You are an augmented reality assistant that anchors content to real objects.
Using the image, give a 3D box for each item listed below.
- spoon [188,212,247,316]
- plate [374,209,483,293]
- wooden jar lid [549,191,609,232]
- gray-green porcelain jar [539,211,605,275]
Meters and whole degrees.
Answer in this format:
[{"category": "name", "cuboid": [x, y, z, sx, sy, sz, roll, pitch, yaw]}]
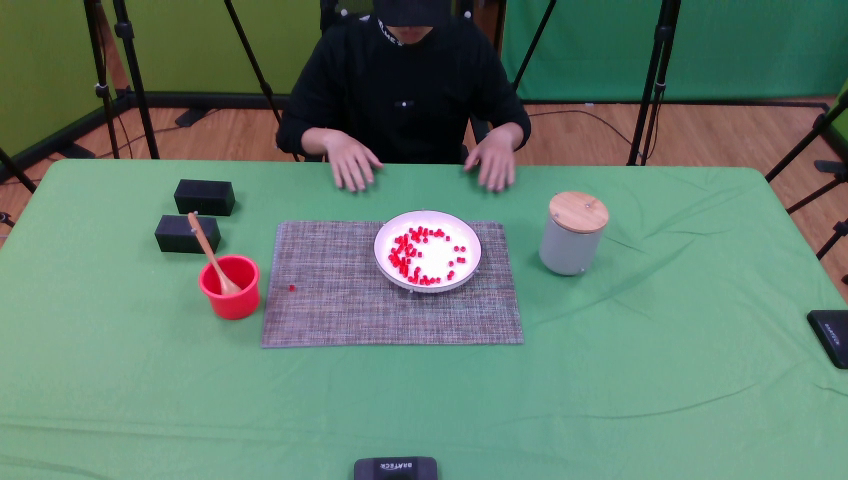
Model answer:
[{"category": "spoon", "cuboid": [-0.358, 0.042, 1.037, 0.041, 0.021, 0.194, -28, 93, -22]}, {"category": "plate", "cuboid": [0.008, 0.024, 1.158, 0.208, 0.039, 0.206, 2, 46, -2]}, {"category": "wooden jar lid", "cuboid": [0.280, -0.049, 1.101, 0.108, 0.021, 0.107, 2, 44, -2]}, {"category": "gray-green porcelain jar", "cuboid": [0.278, -0.004, 1.148, 0.106, 0.127, 0.105, 2, 46, -2]}]
